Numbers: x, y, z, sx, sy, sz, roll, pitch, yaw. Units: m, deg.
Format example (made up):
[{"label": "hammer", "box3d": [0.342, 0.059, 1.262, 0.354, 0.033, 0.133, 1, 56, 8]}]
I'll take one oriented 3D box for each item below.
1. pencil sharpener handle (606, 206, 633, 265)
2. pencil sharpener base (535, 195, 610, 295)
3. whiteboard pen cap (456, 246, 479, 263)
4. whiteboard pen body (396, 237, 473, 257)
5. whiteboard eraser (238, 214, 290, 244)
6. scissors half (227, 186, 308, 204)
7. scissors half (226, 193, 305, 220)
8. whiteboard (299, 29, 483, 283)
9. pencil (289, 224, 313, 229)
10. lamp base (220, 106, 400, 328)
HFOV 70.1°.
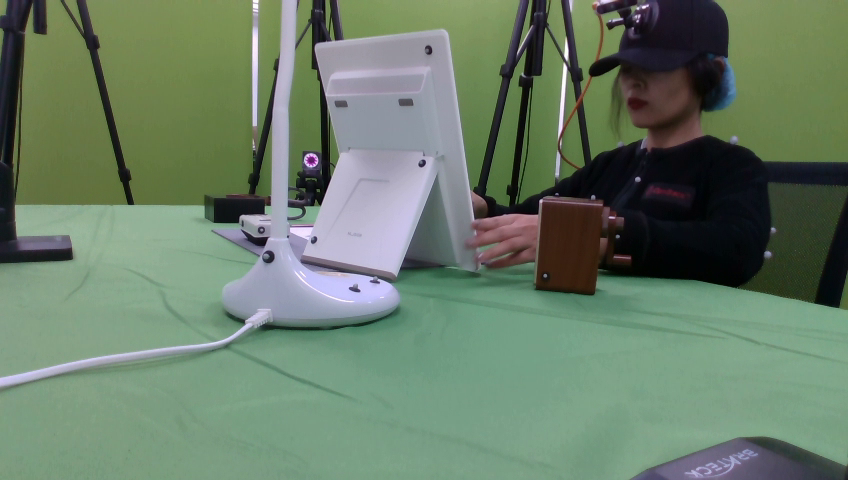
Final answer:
[{"label": "pencil sharpener handle", "box3d": [0.223, -0.004, 0.683, 0.030, 0.068, 0.036, 5, 21, 16]}, {"label": "pencil sharpener base", "box3d": [0.172, 0.005, 0.695, 0.076, 0.107, 0.061, 5, 7, 16]}, {"label": "whiteboard pen cap", "box3d": [0.060, 0.021, 0.850, 0.033, 0.018, 0.018, 22, 19, 40]}, {"label": "whiteboard pen body", "box3d": [0.014, 0.012, 0.886, 0.140, 0.017, 0.017, 10, 10, 38]}, {"label": "whiteboard eraser", "box3d": [-0.253, -0.017, 0.955, 0.056, 0.042, 0.112, -1, 8, -29]}, {"label": "scissors half", "box3d": [-0.336, -0.096, 1.305, 0.176, 0.040, 0.013, -3, 17, -29]}, {"label": "scissors half", "box3d": [-0.341, -0.077, 1.310, 0.176, 0.040, 0.012, 17, 12, -33]}, {"label": "whiteboard", "box3d": [-0.074, -0.082, 0.742, 0.216, 0.305, 0.144, 9, 30, 38]}, {"label": "pencil", "box3d": [-0.221, -0.028, 1.211, 0.195, 0.012, 0.012, -5, 10, -34]}, {"label": "lamp base", "box3d": [-0.101, -0.023, 0.531, 0.160, 0.180, 0.179, 4, 10, 10]}]
